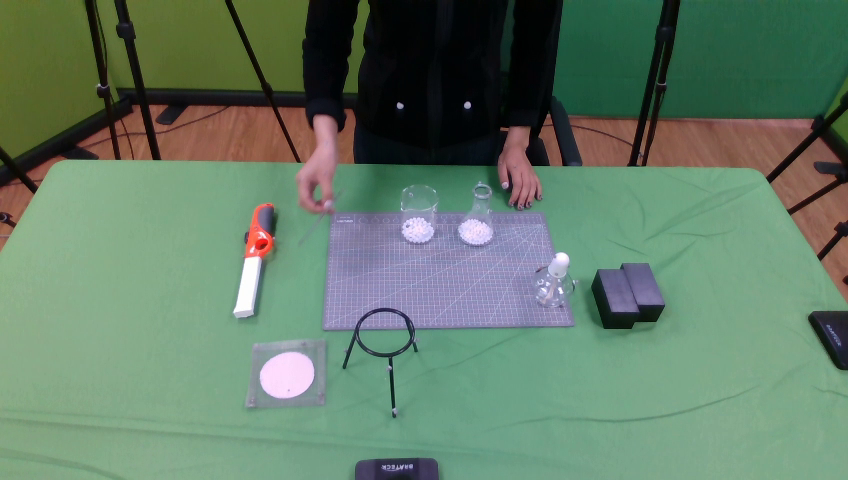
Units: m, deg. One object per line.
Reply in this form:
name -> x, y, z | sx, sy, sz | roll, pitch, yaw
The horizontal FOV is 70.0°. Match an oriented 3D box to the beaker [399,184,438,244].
beaker -> -0.014, -0.046, 1.186 | 0.073, 0.101, 0.084 | 36, 54, 27

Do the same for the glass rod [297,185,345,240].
glass rod -> -0.180, -0.052, 1.076 | 0.008, 0.008, 0.199 | 14, 34, 10

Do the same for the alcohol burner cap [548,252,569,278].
alcohol burner cap -> 0.238, 0.042, 1.060 | 0.034, 0.048, 0.033 | 1, 54, -1

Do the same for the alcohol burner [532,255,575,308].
alcohol burner -> 0.235, 0.066, 1.087 | 0.078, 0.119, 0.077 | 4, 45, -3

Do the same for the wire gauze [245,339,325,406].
wire gauze -> -0.224, 0.214, 0.984 | 0.125, 0.011, 0.120 | -2, 46, -5

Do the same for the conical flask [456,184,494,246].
conical flask -> 0.106, -0.052, 1.185 | 0.075, 0.122, 0.075 | 2, 46, -2

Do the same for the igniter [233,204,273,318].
igniter -> -0.321, 0.029, 1.143 | 0.057, 0.025, 0.274 | -7, 46, 4

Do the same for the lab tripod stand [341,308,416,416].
lab tripod stand -> -0.061, 0.177, 0.946 | 0.148, 0.132, 0.147 | 2, 44, -2
